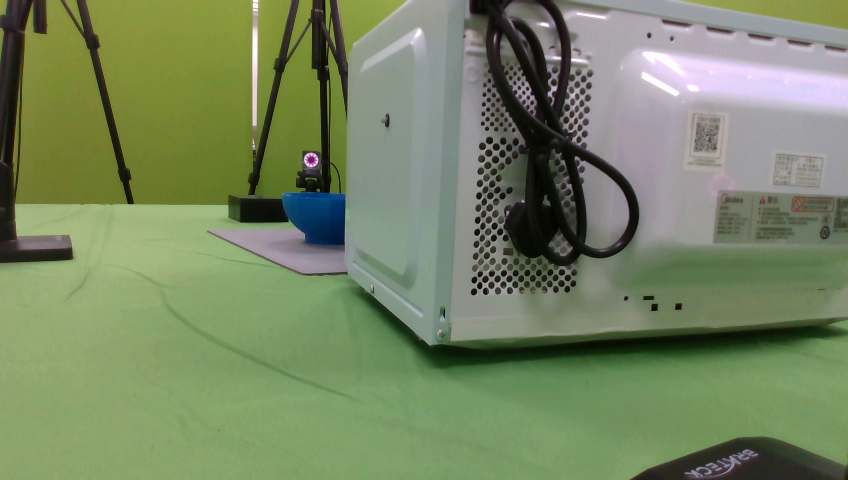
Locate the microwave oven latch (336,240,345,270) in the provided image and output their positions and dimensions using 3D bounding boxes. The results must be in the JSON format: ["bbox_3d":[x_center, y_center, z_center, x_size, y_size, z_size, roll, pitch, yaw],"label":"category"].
[{"bbox_3d":[-0.054,0.017,0.654,0.079,0.029,0.030,3,6,-3],"label":"microwave oven latch"}]

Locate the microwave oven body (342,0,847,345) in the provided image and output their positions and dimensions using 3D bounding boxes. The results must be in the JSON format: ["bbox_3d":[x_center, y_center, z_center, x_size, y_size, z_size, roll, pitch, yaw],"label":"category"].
[{"bbox_3d":[0.169,-0.059,0.573,0.444,0.260,0.324,1,7,-20],"label":"microwave oven body"}]

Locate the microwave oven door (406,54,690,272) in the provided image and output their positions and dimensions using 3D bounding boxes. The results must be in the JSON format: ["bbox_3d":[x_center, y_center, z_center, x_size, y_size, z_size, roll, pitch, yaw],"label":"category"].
[{"bbox_3d":[0.158,-0.085,0.732,0.357,0.243,0.039,0,8,-17],"label":"microwave oven door"}]

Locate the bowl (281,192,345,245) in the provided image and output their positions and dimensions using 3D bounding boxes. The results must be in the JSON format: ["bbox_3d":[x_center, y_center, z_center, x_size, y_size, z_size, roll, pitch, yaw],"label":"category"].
[{"bbox_3d":[-0.158,-0.035,0.991,0.151,0.077,0.151,3,7,0],"label":"bowl"}]
